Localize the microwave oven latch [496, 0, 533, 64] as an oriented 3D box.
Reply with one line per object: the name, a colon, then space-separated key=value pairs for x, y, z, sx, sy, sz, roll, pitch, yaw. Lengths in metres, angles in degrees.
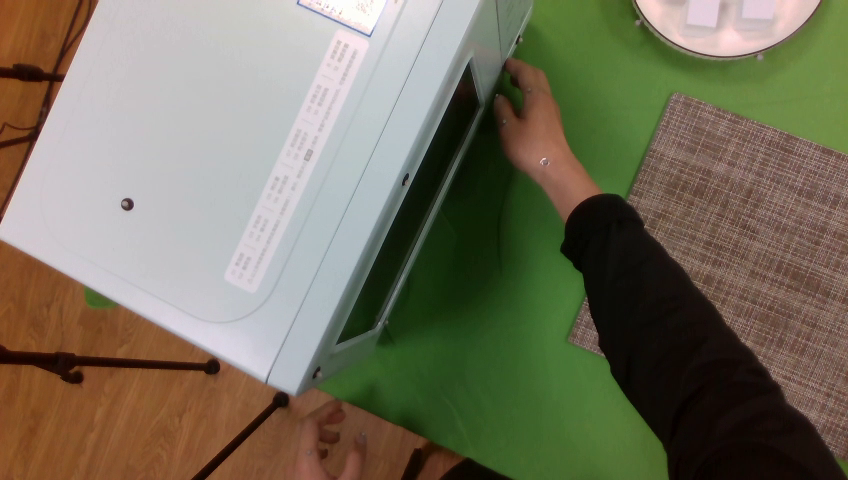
microwave oven latch: x=0.092 y=-0.237 z=0.667 sx=0.030 sy=0.029 sz=0.079 roll=30 pitch=94 yaw=8

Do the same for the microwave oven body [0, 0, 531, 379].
microwave oven body: x=-0.131 y=-0.142 z=0.602 sx=0.325 sy=0.260 sz=0.442 roll=26 pitch=94 yaw=8

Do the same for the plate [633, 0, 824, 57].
plate: x=0.324 y=-0.296 z=0.652 sx=0.207 sy=0.039 sz=0.207 roll=0 pitch=89 yaw=9

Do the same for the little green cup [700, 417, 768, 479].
little green cup: x=0.326 y=0.218 z=0.644 sx=0.061 sy=0.039 sz=0.061 roll=0 pitch=87 yaw=8

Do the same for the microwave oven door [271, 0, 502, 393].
microwave oven door: x=-0.020 y=-0.041 z=0.579 sx=0.039 sy=0.244 sz=0.356 roll=25 pitch=93 yaw=9
